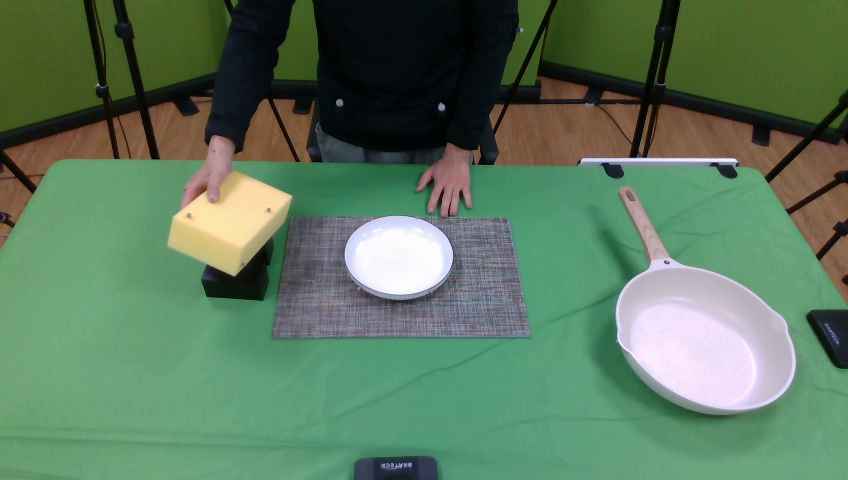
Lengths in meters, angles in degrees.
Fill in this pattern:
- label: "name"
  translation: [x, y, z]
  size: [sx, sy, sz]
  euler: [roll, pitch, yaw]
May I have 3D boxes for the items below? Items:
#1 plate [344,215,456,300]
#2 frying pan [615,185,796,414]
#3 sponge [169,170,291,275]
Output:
- label: "plate"
  translation: [-0.045, 0.036, 1.146]
  size: [0.208, 0.039, 0.206]
  euler: [2, 46, -2]
- label: "frying pan"
  translation: [0.450, 0.087, 1.092]
  size: [0.307, 0.103, 0.484]
  euler: [-4, 55, -10]
- label: "sponge"
  translation: [-0.325, -0.036, 1.039]
  size: [0.118, 0.061, 0.206]
  euler: [24, 30, -1]
